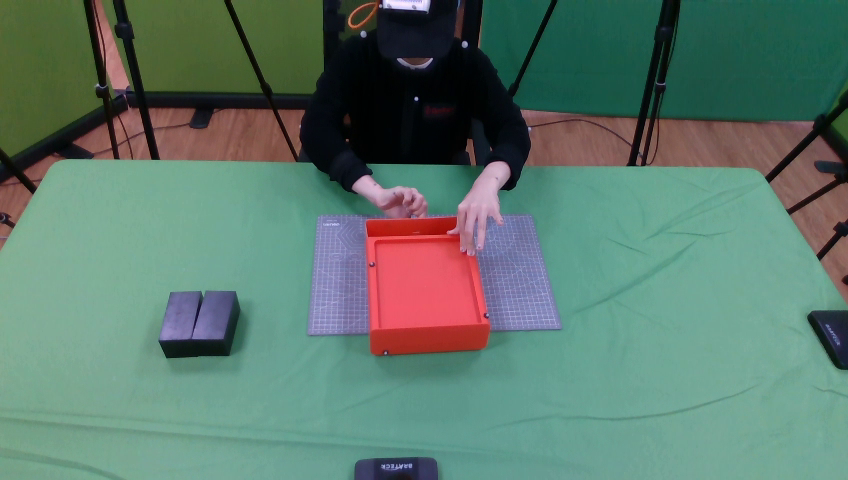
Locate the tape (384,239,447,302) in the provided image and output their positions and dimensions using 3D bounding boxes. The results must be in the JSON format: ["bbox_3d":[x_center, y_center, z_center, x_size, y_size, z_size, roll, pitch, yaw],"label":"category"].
[{"bbox_3d":[-0.014,0.056,1.107,0.117,0.053,0.116,2,46,-2],"label":"tape"}]

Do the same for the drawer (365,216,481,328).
[{"bbox_3d":[-0.006,0.054,1.101,0.195,0.073,0.210,-2,46,-7],"label":"drawer"}]

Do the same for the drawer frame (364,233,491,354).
[{"bbox_3d":[0.000,0.088,1.066,0.202,0.083,0.212,-2,47,-7],"label":"drawer frame"}]
